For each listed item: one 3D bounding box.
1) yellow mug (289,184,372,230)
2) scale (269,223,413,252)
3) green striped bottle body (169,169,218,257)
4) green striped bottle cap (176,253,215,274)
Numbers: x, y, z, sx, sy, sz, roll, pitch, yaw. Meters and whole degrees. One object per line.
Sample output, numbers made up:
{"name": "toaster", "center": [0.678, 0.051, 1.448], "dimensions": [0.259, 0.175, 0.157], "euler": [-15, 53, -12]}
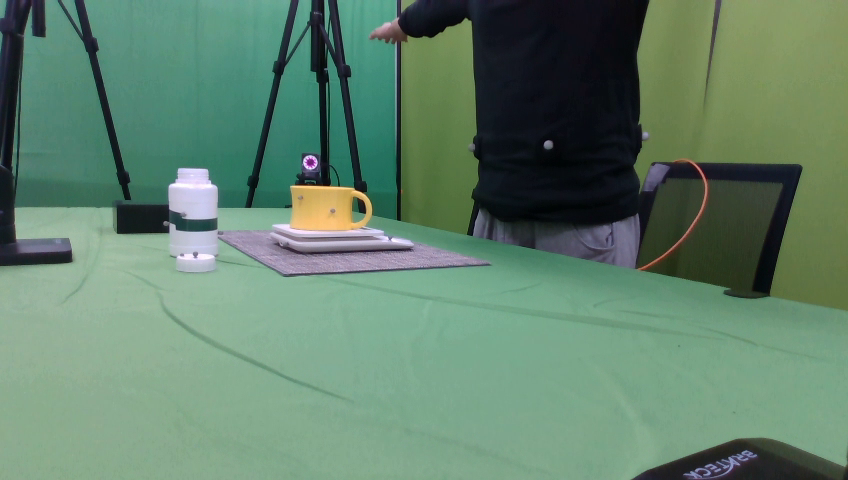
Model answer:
{"name": "yellow mug", "center": [-0.145, -0.052, 0.944], "dimensions": [0.131, 0.064, 0.100], "euler": [4, 7, 9]}
{"name": "scale", "center": [-0.132, -0.007, 0.965], "dimensions": [0.202, 0.031, 0.148], "euler": [-2, 8, -31]}
{"name": "green striped bottle body", "center": [-0.318, -0.038, 0.836], "dimensions": [0.063, 0.119, 0.063], "euler": [2, 7, 0]}
{"name": "green striped bottle cap", "center": [-0.279, 0.028, 0.741], "dimensions": [0.044, 0.020, 0.044], "euler": [5, 4, 0]}
